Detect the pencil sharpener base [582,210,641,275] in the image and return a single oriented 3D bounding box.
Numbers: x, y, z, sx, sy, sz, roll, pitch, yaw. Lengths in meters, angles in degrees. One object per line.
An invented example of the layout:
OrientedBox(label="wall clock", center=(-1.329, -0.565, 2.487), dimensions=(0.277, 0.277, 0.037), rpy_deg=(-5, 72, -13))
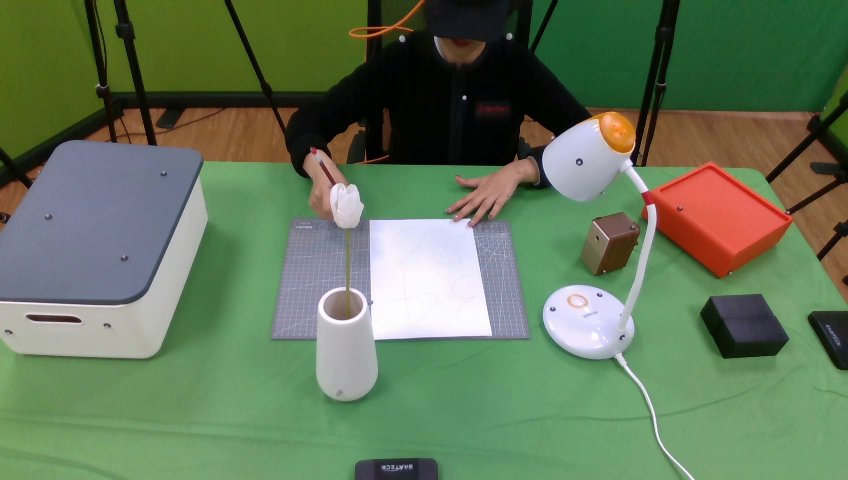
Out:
OrientedBox(label="pencil sharpener base", center=(0.357, 0.005, 1.156), dimensions=(0.077, 0.107, 0.061), rpy_deg=(-15, 48, -18))

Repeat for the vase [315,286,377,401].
OrientedBox(label="vase", center=(-0.119, 0.159, 0.911), dimensions=(0.098, 0.201, 0.097), rpy_deg=(2, 47, -2))

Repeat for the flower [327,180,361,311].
OrientedBox(label="flower", center=(-0.111, 0.086, 0.867), dimensions=(0.044, 0.363, 0.038), rpy_deg=(22, 33, 36))

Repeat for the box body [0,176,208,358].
OrientedBox(label="box body", center=(-0.546, 0.017, 1.045), dimensions=(0.254, 0.161, 0.361), rpy_deg=(2, 46, -2))

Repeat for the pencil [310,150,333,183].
OrientedBox(label="pencil", center=(-0.167, -0.100, 1.126), dimensions=(0.012, 0.195, 0.012), rpy_deg=(-9, 53, 13))

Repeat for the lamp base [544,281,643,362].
OrientedBox(label="lamp base", center=(0.303, 0.095, 1.014), dimensions=(0.161, 0.181, 0.178), rpy_deg=(-24, 54, -24))

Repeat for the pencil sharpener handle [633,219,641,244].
OrientedBox(label="pencil sharpener handle", center=(0.405, -0.015, 1.162), dimensions=(0.031, 0.068, 0.035), rpy_deg=(-15, 44, -18))

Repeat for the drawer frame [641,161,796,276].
OrientedBox(label="drawer frame", center=(0.599, -0.051, 1.244), dimensions=(0.202, 0.083, 0.212), rpy_deg=(-24, 52, -25))

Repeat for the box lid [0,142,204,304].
OrientedBox(label="box lid", center=(-0.534, -0.044, 0.995), dimensions=(0.263, 0.015, 0.369), rpy_deg=(3, 45, -3))

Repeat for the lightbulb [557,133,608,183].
OrientedBox(label="lightbulb", center=(0.243, -0.127, 0.917), dimensions=(0.060, 0.108, 0.059), rpy_deg=(6, 67, -14))

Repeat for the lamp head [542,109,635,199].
OrientedBox(label="lamp head", center=(0.253, -0.131, 0.893), dimensions=(0.113, 0.123, 0.112), rpy_deg=(10, 66, -24))

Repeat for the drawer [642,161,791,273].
OrientedBox(label="drawer", center=(0.596, -0.051, 1.246), dimensions=(0.194, 0.073, 0.210), rpy_deg=(-23, 52, -25))
